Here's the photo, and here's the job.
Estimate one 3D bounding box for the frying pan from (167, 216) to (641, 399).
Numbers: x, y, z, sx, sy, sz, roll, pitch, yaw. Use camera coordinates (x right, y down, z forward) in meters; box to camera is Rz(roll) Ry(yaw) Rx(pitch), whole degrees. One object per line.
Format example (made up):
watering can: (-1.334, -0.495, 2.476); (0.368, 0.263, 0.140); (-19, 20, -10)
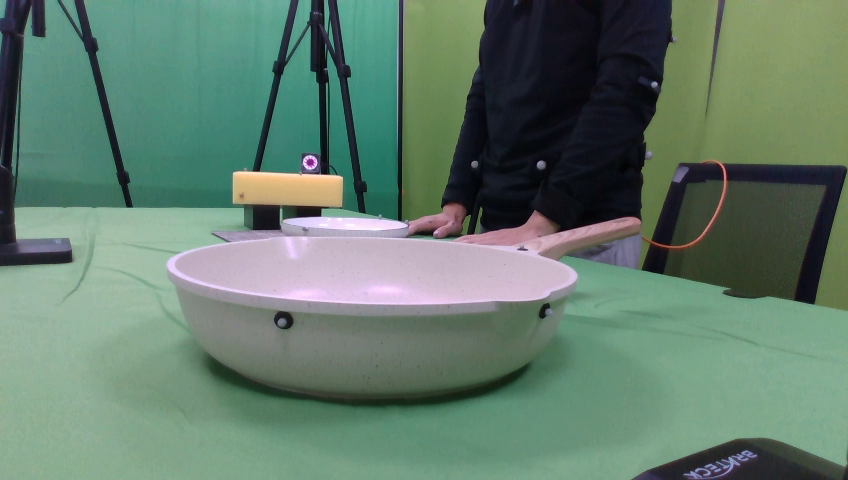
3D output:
frying pan: (0.046, 0.024, 0.519); (0.490, 0.102, 0.305); (-13, 16, -37)

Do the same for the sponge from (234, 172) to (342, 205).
sponge: (-0.273, -0.105, 1.224); (0.207, 0.061, 0.118); (0, 7, -14)

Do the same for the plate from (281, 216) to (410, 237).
plate: (-0.126, -0.012, 0.986); (0.208, 0.039, 0.207); (2, 7, 0)
